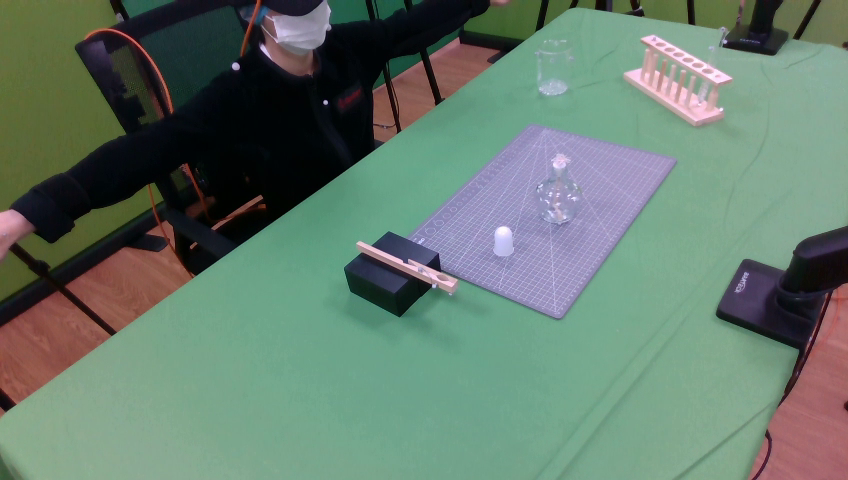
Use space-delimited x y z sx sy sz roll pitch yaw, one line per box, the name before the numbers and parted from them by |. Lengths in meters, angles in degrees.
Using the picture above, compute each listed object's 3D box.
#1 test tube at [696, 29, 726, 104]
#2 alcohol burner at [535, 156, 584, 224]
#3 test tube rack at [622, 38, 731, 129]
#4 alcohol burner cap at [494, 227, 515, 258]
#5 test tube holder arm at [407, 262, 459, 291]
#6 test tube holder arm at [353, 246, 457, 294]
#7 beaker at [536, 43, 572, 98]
test tube | 0.544 -0.326 1.150 0.017 0.151 0.017 -1 42 1
alcohol burner | 0.217 -0.085 0.967 0.078 0.119 0.077 -3 41 3
test tube rack | 0.506 -0.325 1.234 0.067 0.085 0.240 -18 41 -11
alcohol burner cap | 0.124 0.001 0.936 0.034 0.048 0.033 -4 40 4
test tube holder arm | 0.010 0.051 0.845 0.087 0.015 0.010 19 37 29
test tube holder arm | -0.031 0.040 0.862 0.177 0.015 0.013 18 36 27
beaker | 0.280 -0.368 1.311 0.074 0.101 0.084 4 41 14
